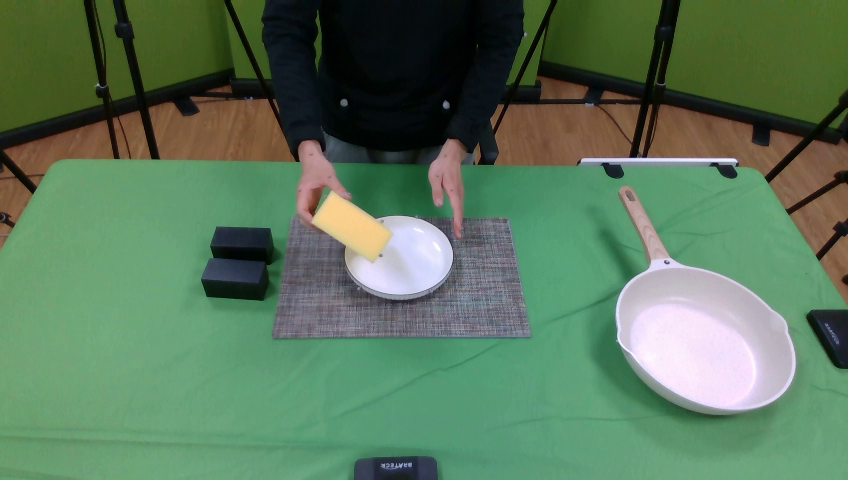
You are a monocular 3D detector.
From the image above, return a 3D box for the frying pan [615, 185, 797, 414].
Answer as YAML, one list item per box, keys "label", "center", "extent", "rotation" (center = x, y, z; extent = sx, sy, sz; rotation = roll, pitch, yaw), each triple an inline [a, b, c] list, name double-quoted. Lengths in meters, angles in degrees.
- label: "frying pan"
  center: [0.450, 0.087, 1.092]
  extent: [0.307, 0.103, 0.484]
  rotation: [-4, 55, -10]

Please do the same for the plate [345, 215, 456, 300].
- label: "plate"
  center: [-0.045, 0.036, 1.146]
  extent: [0.208, 0.039, 0.206]
  rotation: [2, 46, -2]

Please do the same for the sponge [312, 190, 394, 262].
- label: "sponge"
  center: [-0.127, -0.029, 1.052]
  extent: [0.118, 0.206, 0.061]
  rotation: [34, 90, -12]
